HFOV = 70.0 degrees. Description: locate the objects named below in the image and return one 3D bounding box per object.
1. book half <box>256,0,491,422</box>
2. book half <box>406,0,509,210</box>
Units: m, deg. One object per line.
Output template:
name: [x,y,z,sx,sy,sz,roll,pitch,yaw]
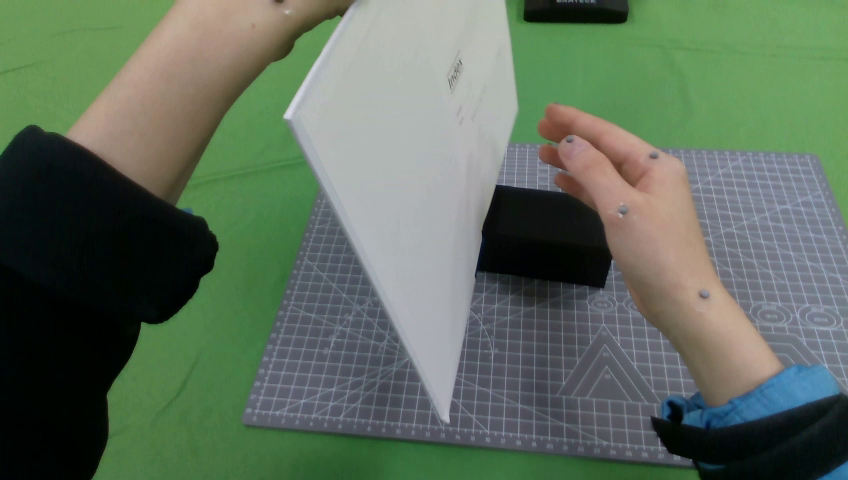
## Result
book half: [-0.003,-0.019,0.305,0.007,0.212,0.142,-1,49,22]
book half: [0.026,-0.127,0.394,0.016,0.212,0.147,2,50,21]
